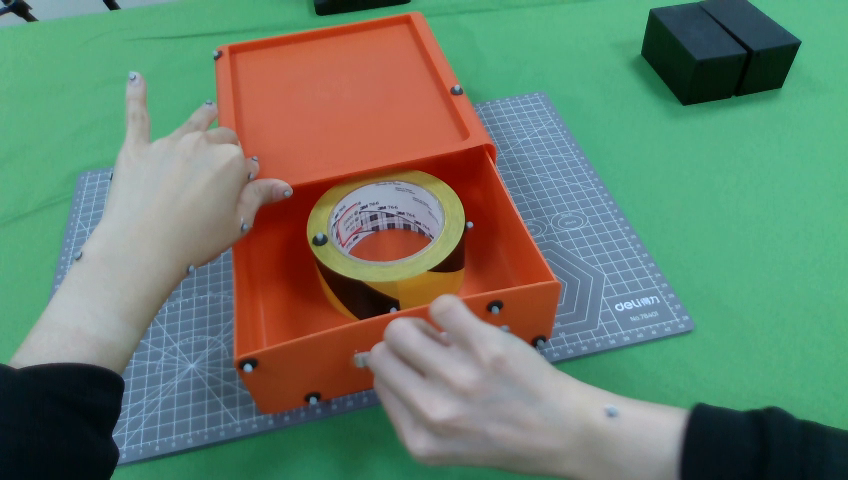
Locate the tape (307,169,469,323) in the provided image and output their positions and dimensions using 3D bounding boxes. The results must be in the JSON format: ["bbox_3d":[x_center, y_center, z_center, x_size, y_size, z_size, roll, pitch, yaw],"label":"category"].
[{"bbox_3d":[-0.026,0.004,0.438,0.117,0.053,0.115,-1,48,2],"label":"tape"}]

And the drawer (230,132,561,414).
[{"bbox_3d":[-0.035,-0.001,0.435,0.195,0.074,0.209,-13,48,-7],"label":"drawer"}]

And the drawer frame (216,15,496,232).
[{"bbox_3d":[-0.067,-0.093,0.519,0.202,0.083,0.211,-14,47,-8],"label":"drawer frame"}]
